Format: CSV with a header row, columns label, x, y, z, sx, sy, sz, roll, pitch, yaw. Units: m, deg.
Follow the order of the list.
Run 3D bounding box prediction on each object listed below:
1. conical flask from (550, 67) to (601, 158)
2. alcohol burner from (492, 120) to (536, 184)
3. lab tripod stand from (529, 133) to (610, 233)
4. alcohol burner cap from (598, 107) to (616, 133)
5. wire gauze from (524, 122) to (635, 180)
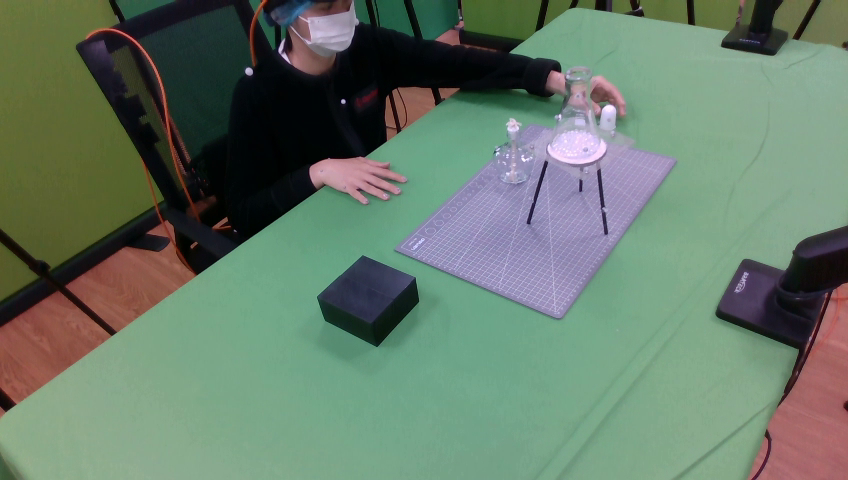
label,x,y,z,sx,sy,sz,roll,pitch,yaw
conical flask,0.221,-0.186,0.875,0.075,0.122,0.075,-5,40,5
alcohol burner,0.159,-0.158,1.064,0.078,0.119,0.077,-3,41,3
lab tripod stand,0.236,-0.089,0.953,0.148,0.132,0.147,-5,42,5
alcohol burner cap,0.361,-0.238,1.189,0.034,0.048,0.033,-3,39,3
wire gauze,0.233,-0.142,0.913,0.122,0.011,0.124,-31,42,-26
